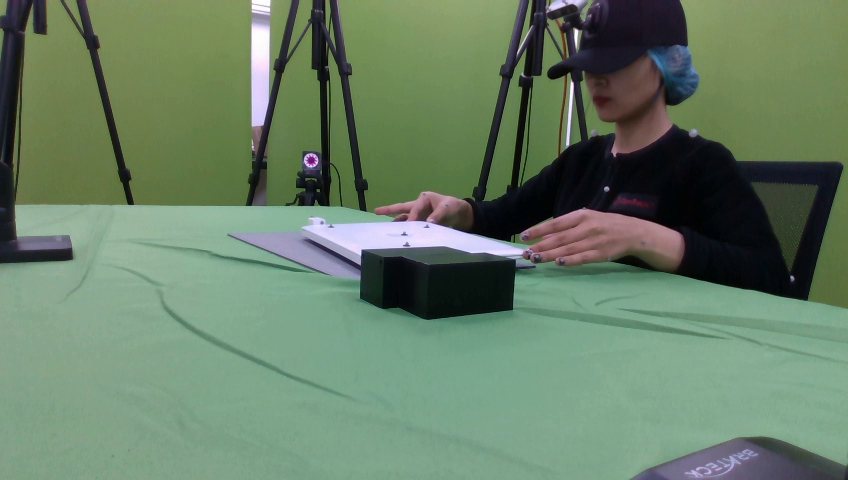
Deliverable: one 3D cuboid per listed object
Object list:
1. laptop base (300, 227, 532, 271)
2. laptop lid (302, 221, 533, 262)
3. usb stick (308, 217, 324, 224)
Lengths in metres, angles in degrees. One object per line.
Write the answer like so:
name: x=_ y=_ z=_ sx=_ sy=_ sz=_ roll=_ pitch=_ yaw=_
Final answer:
laptop base: x=-0.032 y=0.007 z=0.907 sx=0.237 sy=0.023 sz=0.352 roll=-1 pitch=8 yaw=-25
laptop lid: x=-0.030 y=-0.005 z=0.906 sx=0.243 sy=0.013 sz=0.355 roll=-2 pitch=9 yaw=-23
usb stick: x=-0.185 y=-0.025 z=1.044 sx=0.021 sy=0.027 sz=0.059 roll=-3 pitch=11 yaw=-22
